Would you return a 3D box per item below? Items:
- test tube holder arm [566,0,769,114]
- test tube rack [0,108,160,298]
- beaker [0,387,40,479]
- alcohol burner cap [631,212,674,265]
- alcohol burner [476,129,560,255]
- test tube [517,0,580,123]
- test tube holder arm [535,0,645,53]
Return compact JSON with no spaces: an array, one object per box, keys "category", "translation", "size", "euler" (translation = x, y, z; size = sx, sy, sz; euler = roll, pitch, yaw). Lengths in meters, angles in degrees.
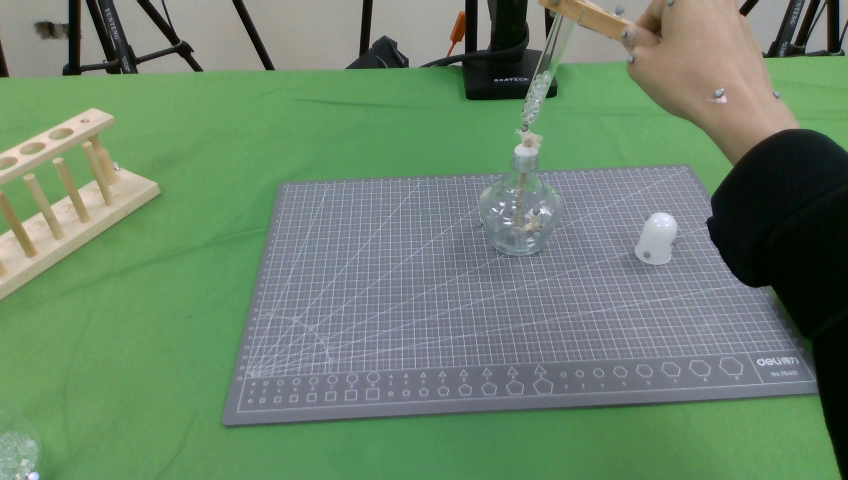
[{"category":"test tube holder arm","translation":[0.155,-0.136,0.421],"size":[0.013,0.015,0.177],"euler":[-26,54,-39]},{"category":"test tube rack","translation":[-0.373,-0.024,0.556],"size":[0.066,0.086,0.241],"euler":[22,46,23]},{"category":"beaker","translation":[-0.301,0.122,0.379],"size":[0.084,0.101,0.073],"euler":[-19,44,-18]},{"category":"alcohol burner cap","translation":[0.209,-0.003,0.549],"size":[0.034,0.048,0.033],"euler":[-1,41,1]},{"category":"alcohol burner","translation":[0.085,-0.046,0.545],"size":[0.078,0.120,0.077],"euler":[-1,40,1]},{"category":"test tube","translation":[0.101,-0.157,0.460],"size":[0.017,0.151,0.017],"euler":[12,35,-8]},{"category":"test tube holder arm","translation":[0.119,-0.158,0.437],"size":[0.087,0.015,0.010],"euler":[34,43,22]}]
